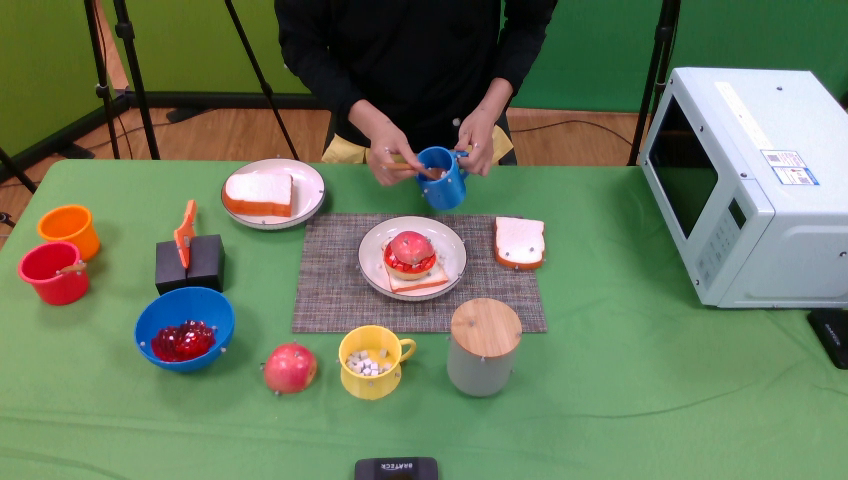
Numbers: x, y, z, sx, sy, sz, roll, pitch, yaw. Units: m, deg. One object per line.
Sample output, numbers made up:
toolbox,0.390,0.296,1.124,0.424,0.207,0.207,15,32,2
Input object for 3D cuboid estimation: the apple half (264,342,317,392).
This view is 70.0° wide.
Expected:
apple half,-0.214,0.198,0.970,0.074,0.053,0.080,19,48,11

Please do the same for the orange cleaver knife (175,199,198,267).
orange cleaver knife,-0.438,-0.017,1.138,0.012,0.077,0.210,-14,27,-7

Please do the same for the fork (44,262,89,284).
fork,-0.599,0.053,1.014,0.207,0.019,0.028,-14,29,45

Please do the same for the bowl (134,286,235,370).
bowl,-0.377,0.155,0.981,0.151,0.077,0.150,2,46,-2

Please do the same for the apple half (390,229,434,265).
apple half,-0.021,0.003,1.085,0.081,0.033,0.081,7,45,-7

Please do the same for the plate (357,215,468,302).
plate,-0.022,0.037,1.141,0.208,0.039,0.206,2,46,-2

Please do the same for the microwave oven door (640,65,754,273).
microwave oven door,0.523,-0.147,1.193,0.039,0.245,0.353,0,47,-3

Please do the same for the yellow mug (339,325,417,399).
yellow mug,-0.072,0.190,0.978,0.131,0.064,0.099,-17,50,-20

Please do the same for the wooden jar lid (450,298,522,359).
wooden jar lid,0.093,0.135,0.914,0.108,0.021,0.107,2,48,-3

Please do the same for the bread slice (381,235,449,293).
bread slice,-0.027,0.040,1.141,0.107,0.018,0.133,-12,50,-16

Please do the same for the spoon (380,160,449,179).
spoon,-0.013,-0.129,1.080,0.194,0.021,0.041,4,45,-55

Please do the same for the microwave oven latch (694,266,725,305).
microwave oven latch,0.523,0.082,1.115,0.030,0.029,0.078,3,46,0

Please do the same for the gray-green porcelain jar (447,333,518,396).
gray-green porcelain jar,0.091,0.178,0.960,0.106,0.127,0.105,2,46,-2

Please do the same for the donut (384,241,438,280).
donut,-0.025,0.030,1.109,0.099,0.048,0.098,3,46,-2

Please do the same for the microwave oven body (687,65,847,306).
microwave oven body,0.669,-0.111,1.176,0.326,0.261,0.439,0,46,-3

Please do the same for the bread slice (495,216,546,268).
bread slice,0.194,0.002,1.204,0.105,0.019,0.131,6,45,2

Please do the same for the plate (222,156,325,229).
plate,-0.308,-0.095,1.251,0.209,0.038,0.208,2,46,-2

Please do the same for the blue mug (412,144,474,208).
blue mug,0.045,-0.129,1.159,0.116,0.106,0.082,-34,60,-1
